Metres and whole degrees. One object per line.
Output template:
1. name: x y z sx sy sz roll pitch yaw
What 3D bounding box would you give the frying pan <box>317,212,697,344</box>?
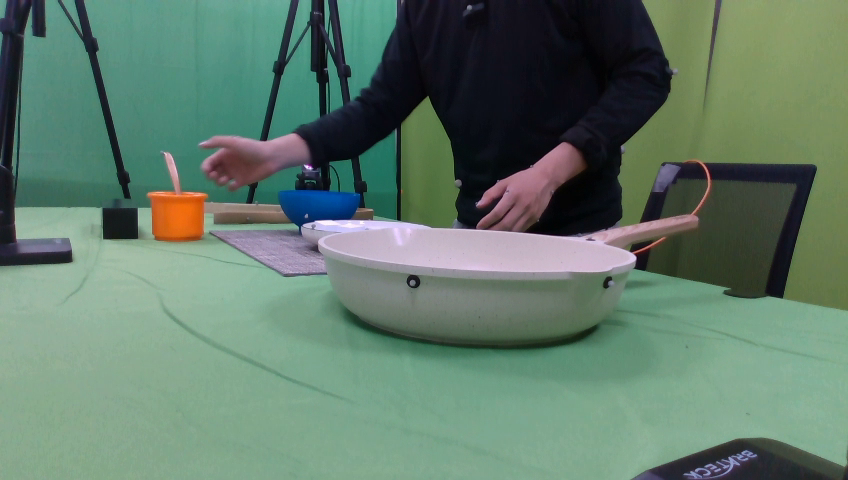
1. frying pan: 0.133 0.013 0.629 0.490 0.102 0.305 -12 14 -31

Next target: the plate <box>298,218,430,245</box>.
1. plate: -0.091 -0.006 0.949 0.208 0.039 0.207 2 7 0

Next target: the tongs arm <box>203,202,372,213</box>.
1. tongs arm: -0.312 -0.068 1.417 0.387 0.026 0.050 1 9 -24

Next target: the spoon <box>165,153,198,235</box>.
1. spoon: -0.417 -0.081 1.027 0.042 0.193 0.021 1 -37 -37

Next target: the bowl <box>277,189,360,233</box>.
1. bowl: -0.195 -0.052 1.117 0.151 0.077 0.151 2 7 0

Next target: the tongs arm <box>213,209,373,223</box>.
1. tongs arm: -0.274 -0.053 1.347 0.390 0.028 0.028 -3 7 -37
